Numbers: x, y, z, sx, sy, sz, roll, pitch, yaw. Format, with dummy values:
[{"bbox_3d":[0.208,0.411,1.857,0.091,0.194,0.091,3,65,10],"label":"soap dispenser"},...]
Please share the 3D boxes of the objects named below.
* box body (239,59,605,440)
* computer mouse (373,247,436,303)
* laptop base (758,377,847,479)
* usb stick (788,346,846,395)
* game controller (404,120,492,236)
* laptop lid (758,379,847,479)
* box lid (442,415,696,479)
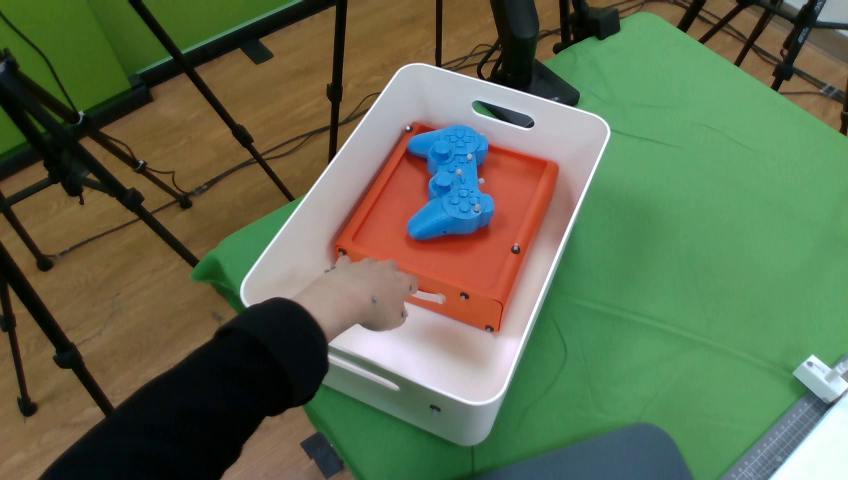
[{"bbox_3d":[0.015,0.001,0.663,0.253,0.162,0.362,20,59,13],"label":"box body"},{"bbox_3d":[-0.021,0.034,0.701,0.063,0.041,0.116,-5,17,8],"label":"computer mouse"},{"bbox_3d":[0.483,0.312,0.536,0.235,0.023,0.351,-37,63,-17],"label":"laptop base"},{"bbox_3d":[0.417,0.143,0.634,0.021,0.027,0.058,-29,63,-23],"label":"usb stick"},{"bbox_3d":[0.025,-0.077,0.696,0.097,0.052,0.153,1,56,-3],"label":"game controller"},{"bbox_3d":[0.480,0.306,0.526,0.241,0.013,0.353,-35,62,-17],"label":"laptop lid"},{"bbox_3d":[0.171,0.352,0.520,0.263,0.015,0.367,-15,58,-8],"label":"box lid"}]
